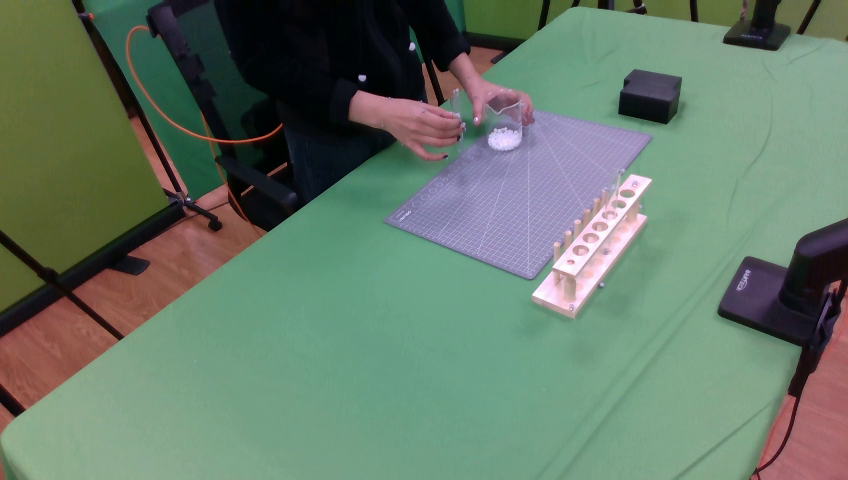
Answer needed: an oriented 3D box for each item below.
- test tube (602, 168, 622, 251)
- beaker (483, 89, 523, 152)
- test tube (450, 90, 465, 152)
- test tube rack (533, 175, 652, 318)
[{"bbox_3d":[0.264,-0.039,0.853,0.017,0.151,0.017,-5,44,6],"label":"test tube"},{"bbox_3d":[0.153,-0.226,1.157,0.073,0.101,0.084,6,43,18],"label":"beaker"},{"bbox_3d":[0.060,-0.206,1.064,0.017,0.151,0.017,-4,58,7],"label":"test tube"},{"bbox_3d":[0.250,-0.001,0.889,0.066,0.085,0.243,22,49,33],"label":"test tube rack"}]
